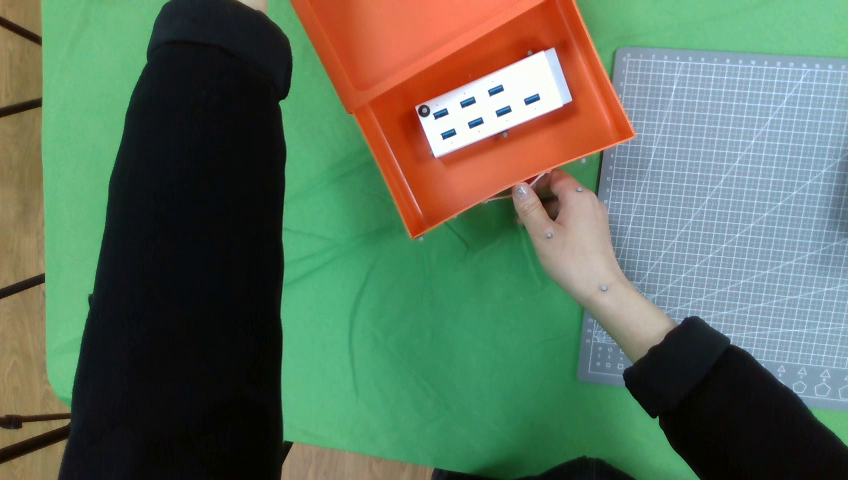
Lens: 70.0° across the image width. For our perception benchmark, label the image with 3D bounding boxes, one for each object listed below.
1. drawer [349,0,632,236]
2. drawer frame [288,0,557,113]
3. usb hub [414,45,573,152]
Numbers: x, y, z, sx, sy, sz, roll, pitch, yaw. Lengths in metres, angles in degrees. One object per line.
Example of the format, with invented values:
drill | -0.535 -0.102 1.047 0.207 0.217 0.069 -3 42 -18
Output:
drawer | 0.034 -0.137 0.495 0.194 0.073 0.212 -24 97 13
drawer frame | -0.018 -0.240 0.477 0.201 0.082 0.214 -27 96 12
usb hub | 0.057 -0.118 0.509 0.125 0.025 0.050 -17 108 19
